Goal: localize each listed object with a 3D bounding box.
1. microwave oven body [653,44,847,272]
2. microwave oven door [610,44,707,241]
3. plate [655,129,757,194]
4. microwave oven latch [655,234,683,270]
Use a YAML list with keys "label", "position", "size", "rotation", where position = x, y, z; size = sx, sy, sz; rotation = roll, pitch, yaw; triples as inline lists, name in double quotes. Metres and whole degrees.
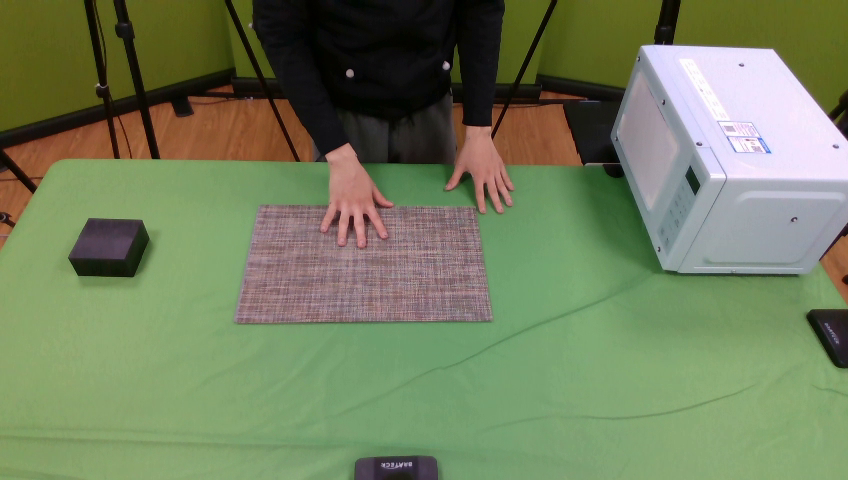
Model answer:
- label: "microwave oven body"
  position: [0.620, -0.172, 1.234]
  size: [0.326, 0.261, 0.439]
  rotation: [0, 46, -3]
- label: "microwave oven door"
  position: [0.474, -0.208, 1.250]
  size: [0.039, 0.245, 0.353]
  rotation: [0, 47, -3]
- label: "plate"
  position: [0.600, -0.165, 1.305]
  size: [0.209, 0.038, 0.208]
  rotation: [1, 46, -1]
- label: "microwave oven latch"
  position: [0.473, 0.021, 1.175]
  size: [0.030, 0.029, 0.078]
  rotation: [2, 46, -1]
